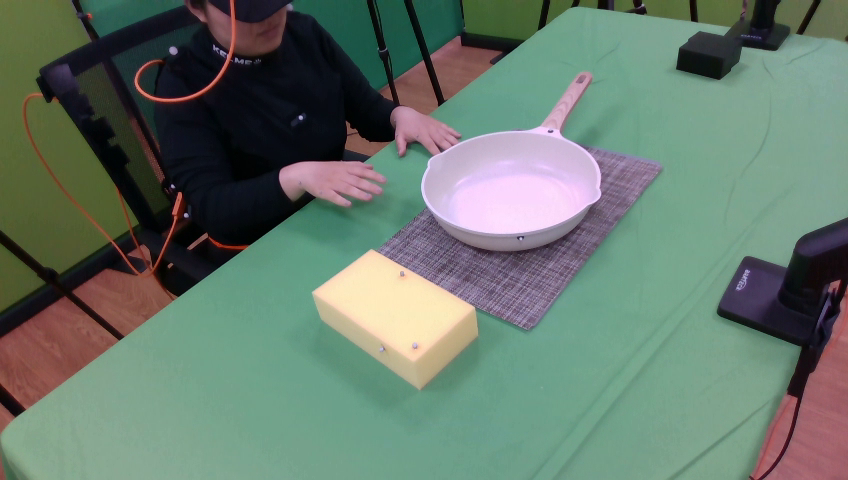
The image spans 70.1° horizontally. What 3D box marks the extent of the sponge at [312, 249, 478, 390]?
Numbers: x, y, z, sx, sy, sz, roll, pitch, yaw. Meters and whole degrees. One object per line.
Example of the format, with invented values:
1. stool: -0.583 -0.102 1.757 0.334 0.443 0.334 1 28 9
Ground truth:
1. sponge: -0.042 0.103 0.843 0.205 0.061 0.118 27 52 35

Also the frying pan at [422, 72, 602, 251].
1. frying pan: 0.199 -0.155 1.062 0.304 0.103 0.488 19 56 28
